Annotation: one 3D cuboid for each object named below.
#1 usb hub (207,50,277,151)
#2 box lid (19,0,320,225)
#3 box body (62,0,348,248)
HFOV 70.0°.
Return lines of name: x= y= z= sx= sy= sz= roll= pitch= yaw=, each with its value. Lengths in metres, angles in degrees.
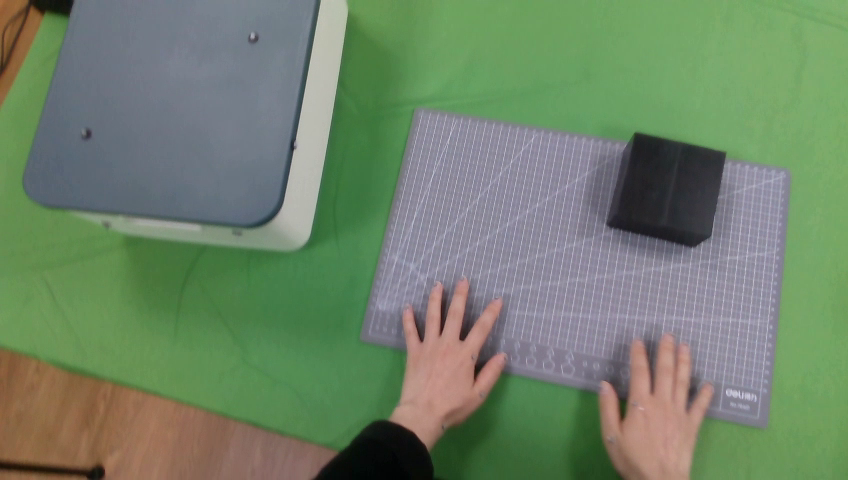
usb hub: x=-0.223 y=-0.172 z=0.746 sx=0.049 sy=0.025 sz=0.124 roll=11 pitch=75 yaw=8
box lid: x=-0.245 y=-0.200 z=0.617 sx=0.263 sy=0.015 sz=0.369 roll=6 pitch=77 yaw=5
box body: x=-0.240 y=-0.184 z=0.688 sx=0.254 sy=0.161 sz=0.362 roll=6 pitch=77 yaw=5
